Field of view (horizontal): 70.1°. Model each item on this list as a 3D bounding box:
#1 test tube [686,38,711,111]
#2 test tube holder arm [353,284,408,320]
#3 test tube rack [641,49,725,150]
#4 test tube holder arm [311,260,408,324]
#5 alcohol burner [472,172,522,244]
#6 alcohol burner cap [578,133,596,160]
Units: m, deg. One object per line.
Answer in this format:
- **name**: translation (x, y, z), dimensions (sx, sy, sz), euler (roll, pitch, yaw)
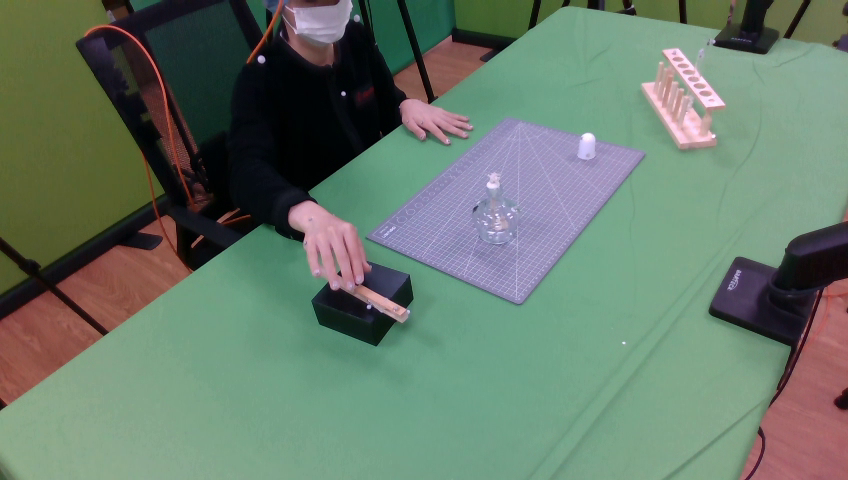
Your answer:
- **test tube**: translation (0.508, -0.305, 1.128), dimensions (0.017, 0.151, 0.017), euler (-2, 46, 3)
- **test tube holder arm**: translation (-0.059, 0.082, 0.805), dimensions (0.087, 0.010, 0.015), euler (26, 53, 32)
- **test tube rack**: translation (0.495, -0.279, 1.175), dimensions (0.067, 0.085, 0.241), euler (-5, 41, 3)
- **test tube holder arm**: translation (-0.093, 0.069, 0.832), dimensions (0.177, 0.013, 0.015), euler (26, 53, 31)
- **alcohol burner**: translation (0.112, -0.053, 0.942), dimensions (0.078, 0.119, 0.077), euler (-6, 40, 5)
- **alcohol burner cap**: translation (0.301, -0.174, 1.111), dimensions (0.034, 0.048, 0.033), euler (-5, 40, 4)
